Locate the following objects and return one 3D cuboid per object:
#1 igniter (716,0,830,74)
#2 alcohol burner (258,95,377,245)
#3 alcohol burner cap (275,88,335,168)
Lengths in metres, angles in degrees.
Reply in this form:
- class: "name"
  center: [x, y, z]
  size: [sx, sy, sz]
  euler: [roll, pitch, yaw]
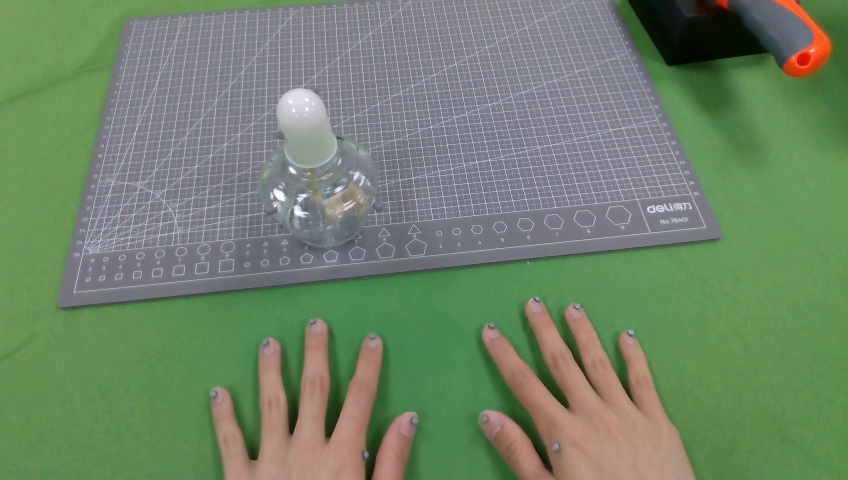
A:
- class: "igniter"
  center: [0.248, -0.230, 0.503]
  size: [0.057, 0.025, 0.273]
  euler: [-12, 55, -4]
- class: "alcohol burner"
  center: [-0.070, -0.049, 0.384]
  size: [0.078, 0.120, 0.077]
  euler: [0, 59, 1]
- class: "alcohol burner cap"
  center: [-0.072, -0.068, 0.355]
  size: [0.034, 0.048, 0.033]
  euler: [0, 60, 0]
